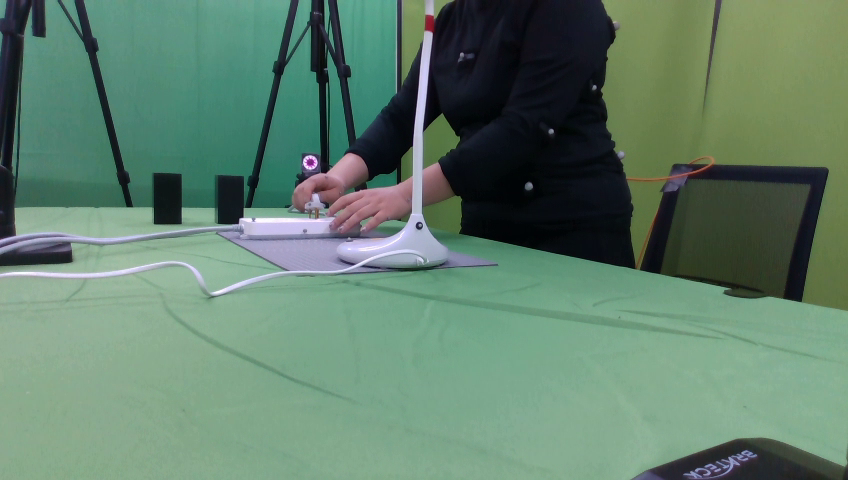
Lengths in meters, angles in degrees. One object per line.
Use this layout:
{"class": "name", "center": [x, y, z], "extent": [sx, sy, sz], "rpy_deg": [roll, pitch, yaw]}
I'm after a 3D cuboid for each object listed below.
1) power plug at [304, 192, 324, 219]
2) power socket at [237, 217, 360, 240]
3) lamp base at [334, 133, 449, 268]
{"class": "power plug", "center": [-0.205, -0.062, 1.126], "extent": [0.035, 0.052, 0.072], "rpy_deg": [0, -4, -10]}
{"class": "power socket", "center": [-0.220, -0.023, 1.080], "extent": [0.228, 0.032, 0.072], "rpy_deg": [-3, 8, -32]}
{"class": "lamp base", "center": [-0.034, -0.057, 0.831], "extent": [0.161, 0.180, 0.178], "rpy_deg": [-3, 12, -36]}
